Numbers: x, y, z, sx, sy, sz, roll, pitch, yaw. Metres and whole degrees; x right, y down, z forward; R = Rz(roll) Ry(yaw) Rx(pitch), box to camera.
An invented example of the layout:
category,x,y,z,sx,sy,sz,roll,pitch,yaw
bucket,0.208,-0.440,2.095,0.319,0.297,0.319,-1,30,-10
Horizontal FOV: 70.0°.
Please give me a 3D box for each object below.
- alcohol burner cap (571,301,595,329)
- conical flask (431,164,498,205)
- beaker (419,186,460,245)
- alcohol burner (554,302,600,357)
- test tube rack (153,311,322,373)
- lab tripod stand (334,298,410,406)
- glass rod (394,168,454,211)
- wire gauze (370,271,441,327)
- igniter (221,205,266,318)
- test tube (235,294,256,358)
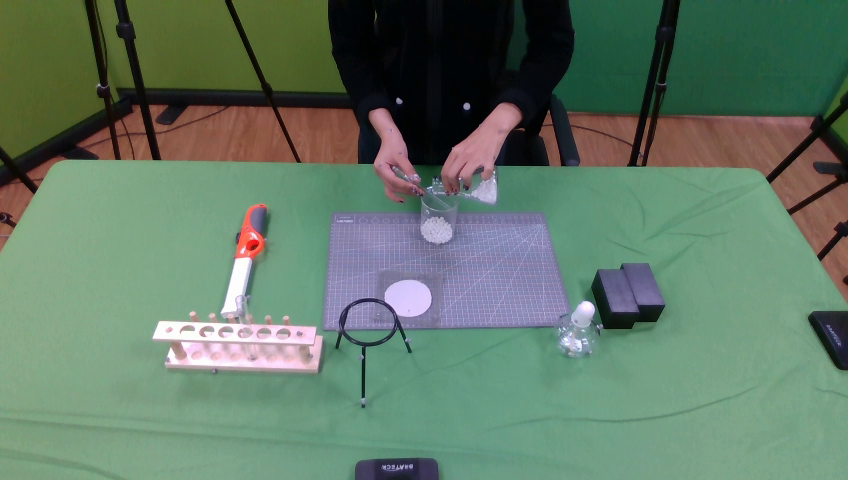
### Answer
category,x,y,z,sx,sy,sz,roll,pitch,yaw
alcohol burner cap,0.262,0.120,0.991,0.034,0.048,0.033,2,52,-2
conical flask,0.075,-0.102,1.114,0.122,0.076,0.075,1,46,7
beaker,0.025,-0.047,1.190,0.074,0.101,0.083,-29,54,-29
alcohol burner,0.260,0.143,1.018,0.078,0.119,0.077,3,44,-3
test tube rack,-0.293,0.160,0.978,0.242,0.085,0.066,3,46,-2
lab tripod stand,-0.086,0.164,0.957,0.148,0.132,0.147,3,44,-2
glass rod,0.004,-0.091,1.119,0.008,0.201,0.008,-13,64,30
wire gauze,-0.032,0.103,1.104,0.125,0.011,0.121,4,46,3
igniter,-0.338,0.030,1.140,0.057,0.025,0.274,-5,46,3
test tube,-0.274,0.136,0.933,0.017,0.151,0.017,4,46,-4
